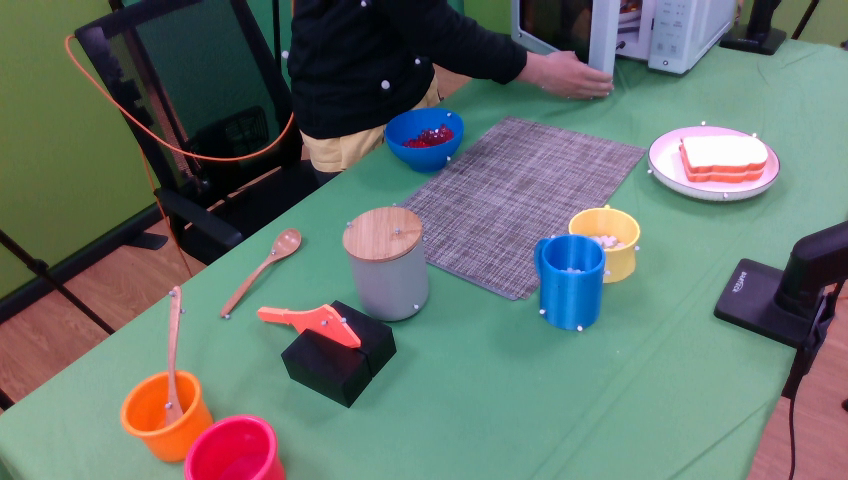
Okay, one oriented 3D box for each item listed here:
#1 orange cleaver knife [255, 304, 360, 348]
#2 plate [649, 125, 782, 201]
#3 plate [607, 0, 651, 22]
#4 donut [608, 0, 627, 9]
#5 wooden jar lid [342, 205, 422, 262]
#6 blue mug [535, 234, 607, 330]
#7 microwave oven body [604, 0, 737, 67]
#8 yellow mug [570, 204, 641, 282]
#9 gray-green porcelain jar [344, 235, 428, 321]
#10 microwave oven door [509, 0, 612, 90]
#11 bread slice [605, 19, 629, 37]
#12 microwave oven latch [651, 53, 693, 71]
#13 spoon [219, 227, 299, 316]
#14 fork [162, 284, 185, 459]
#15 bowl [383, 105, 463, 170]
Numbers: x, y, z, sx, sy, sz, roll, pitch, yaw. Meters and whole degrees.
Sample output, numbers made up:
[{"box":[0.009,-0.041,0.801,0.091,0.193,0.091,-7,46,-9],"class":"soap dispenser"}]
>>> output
[{"box":[-0.161,0.115,0.813,0.210,0.077,0.012,-5,33,46],"class":"orange cleaver knife"},{"box":[0.493,-0.128,1.036,0.207,0.039,0.206,-4,41,4],"class":"plate"},{"box":[0.441,-0.573,1.455,0.209,0.038,0.208,-6,42,6],"class":"plate"},{"box":[0.438,-0.586,1.434,0.099,0.048,0.098,-1,53,2],"class":"donut"},{"box":[-0.055,-0.005,0.808,0.108,0.021,0.108,-6,41,6],"class":"wooden jar lid"},{"box":[0.191,0.048,0.824,0.082,0.106,0.115,-26,44,-21],"class":"blue mug"},{"box":[0.475,-0.602,1.411,0.438,0.261,0.327,23,50,32],"class":"microwave oven body"},{"box":[0.268,-0.005,0.904,0.099,0.064,0.130,7,41,15],"class":"yellow mug"},{"box":[-0.049,0.042,0.849,0.106,0.127,0.105,-4,41,4],"class":"gray-green porcelain jar"},{"box":[0.294,-0.505,1.318,0.039,0.245,0.352,-22,43,-17],"class":"microwave oven door"},{"box":[0.429,-0.556,1.483,0.105,0.019,0.131,-27,73,-27],"class":"bread slice"},{"box":[0.532,-0.386,1.301,0.078,0.029,0.030,26,52,34],"class":"microwave oven latch"},{"box":[-0.261,0.046,0.954,0.041,0.021,0.194,26,48,11],"class":"spoon"},{"box":[-0.303,0.157,0.733,0.028,0.019,0.207,-3,84,12],"class":"fork"},{"box":[0.002,-0.185,1.143,0.151,0.077,0.150,-4,40,4],"class":"bowl"}]
